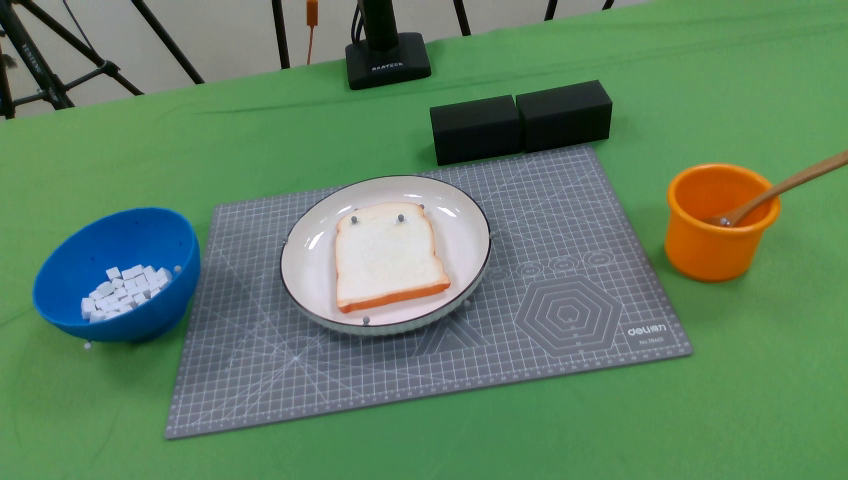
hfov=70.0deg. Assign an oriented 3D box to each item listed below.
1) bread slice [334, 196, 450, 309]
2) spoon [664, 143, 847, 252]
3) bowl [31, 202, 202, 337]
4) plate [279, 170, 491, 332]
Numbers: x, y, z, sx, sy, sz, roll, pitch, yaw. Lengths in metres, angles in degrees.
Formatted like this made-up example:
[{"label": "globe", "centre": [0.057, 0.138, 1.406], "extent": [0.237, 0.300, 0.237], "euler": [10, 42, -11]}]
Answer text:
[{"label": "bread slice", "centre": [-0.041, 0.008, 0.608], "extent": [0.107, 0.018, 0.133], "euler": [-15, 47, -4]}, {"label": "spoon", "centre": [0.295, -0.040, 0.520], "extent": [0.022, 0.194, 0.041], "euler": [31, 45, -23]}, {"label": "bowl", "centre": [-0.281, 0.041, 0.589], "extent": [0.151, 0.077, 0.150], "euler": [-5, 46, 5]}, {"label": "plate", "centre": [-0.038, 0.010, 0.602], "extent": [0.209, 0.038, 0.207], "euler": [-5, 46, 5]}]
